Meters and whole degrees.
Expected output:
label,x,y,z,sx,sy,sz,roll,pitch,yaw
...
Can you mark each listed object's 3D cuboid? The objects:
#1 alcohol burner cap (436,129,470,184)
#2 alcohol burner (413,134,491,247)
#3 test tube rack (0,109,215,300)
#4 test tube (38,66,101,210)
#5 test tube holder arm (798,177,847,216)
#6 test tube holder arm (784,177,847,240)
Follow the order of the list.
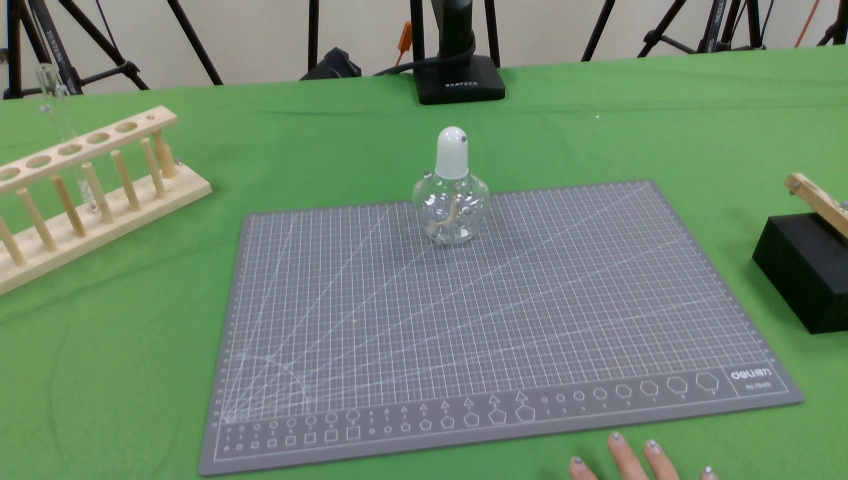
label,x,y,z,sx,sy,sz,roll,pitch,yaw
alcohol burner cap,0.028,-0.080,0.560,0.034,0.048,0.033,1,39,0
alcohol burner,0.028,-0.052,0.583,0.078,0.120,0.077,0,42,0
test tube rack,-0.342,-0.040,0.604,0.066,0.086,0.242,32,50,33
test tube,-0.343,-0.094,0.591,0.017,0.151,0.017,1,35,0
test tube holder arm,0.379,-0.001,0.517,0.013,0.015,0.176,-7,41,-16
test tube holder arm,0.362,-0.028,0.548,0.010,0.015,0.087,-6,41,-15
